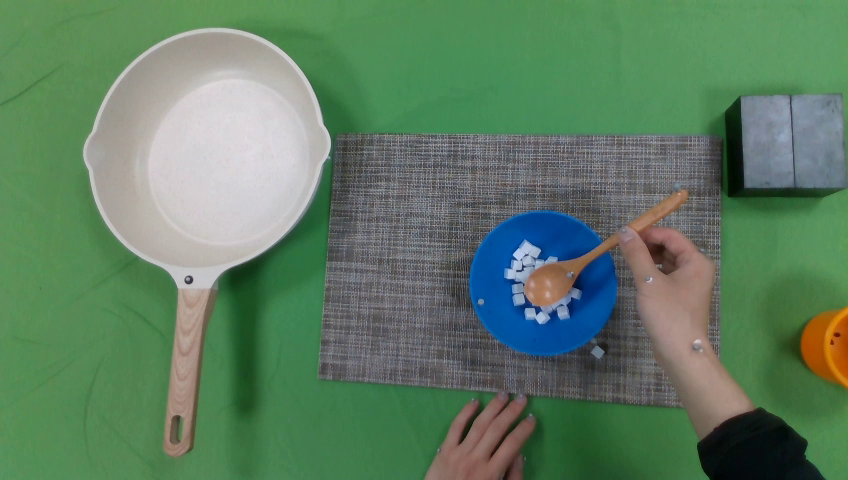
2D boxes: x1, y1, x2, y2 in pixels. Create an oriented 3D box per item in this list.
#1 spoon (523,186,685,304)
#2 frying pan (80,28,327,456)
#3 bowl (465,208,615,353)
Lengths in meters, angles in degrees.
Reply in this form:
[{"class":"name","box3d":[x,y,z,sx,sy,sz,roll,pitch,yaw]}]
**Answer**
[{"class":"spoon","box3d":[0.169,0.008,0.587,0.194,0.022,0.041,-41,74,40]},{"class":"frying pan","box3d":[-0.261,-0.004,0.708,0.306,0.103,0.485,0,75,9]},{"class":"bowl","box3d":[0.124,0.045,0.655,0.151,0.077,0.151,-1,84,8]}]
